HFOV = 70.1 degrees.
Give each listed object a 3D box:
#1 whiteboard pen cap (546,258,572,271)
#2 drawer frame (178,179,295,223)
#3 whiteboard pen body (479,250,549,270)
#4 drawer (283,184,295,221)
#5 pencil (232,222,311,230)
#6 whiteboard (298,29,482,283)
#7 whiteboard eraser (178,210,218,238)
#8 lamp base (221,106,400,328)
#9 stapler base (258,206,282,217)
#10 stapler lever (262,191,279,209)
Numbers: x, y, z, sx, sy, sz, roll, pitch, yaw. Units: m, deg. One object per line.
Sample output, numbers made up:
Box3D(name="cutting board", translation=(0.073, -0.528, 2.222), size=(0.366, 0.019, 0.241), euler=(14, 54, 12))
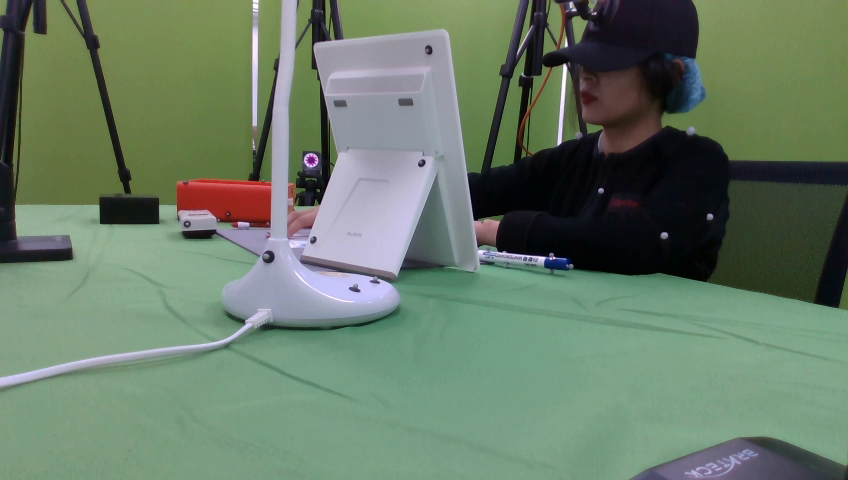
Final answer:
Box3D(name="whiteboard pen cap", translation=(0.175, 0.032, 0.790), size=(0.033, 0.018, 0.018), euler=(3, 7, 37))
Box3D(name="drawer frame", translation=(-0.397, -0.088, 1.315), size=(0.214, 0.082, 0.201), euler=(1, 8, -7))
Box3D(name="whiteboard pen body", translation=(0.130, 0.028, 0.827), size=(0.140, 0.017, 0.017), euler=(7, 9, 38))
Box3D(name="drawer", translation=(-0.394, -0.087, 1.317), size=(0.212, 0.073, 0.194), euler=(1, 8, -7))
Box3D(name="pencil", translation=(-0.261, -0.025, 1.141), size=(0.195, 0.012, 0.012), euler=(2, 7, -26))
Box3D(name="whiteboard", translation=(-0.075, -0.082, 0.741), size=(0.216, 0.305, 0.144), euler=(9, 29, 37))
Box3D(name="whiteboard eraser", translation=(-0.380, -0.027, 1.014), size=(0.056, 0.042, 0.112), euler=(0, 8, -25))
Box3D(name="lamp base", translation=(-0.101, -0.023, 0.531), size=(0.160, 0.180, 0.179), euler=(4, 10, 10))
Box3D(name="stapler base", translation=(-0.331, -0.065, 1.305), size=(0.041, 0.024, 0.130), euler=(9, -2, -9))
Box3D(name="stapler lever", translation=(-0.329, -0.086, 1.306), size=(0.027, 0.040, 0.118), euler=(9, 3, -9))
